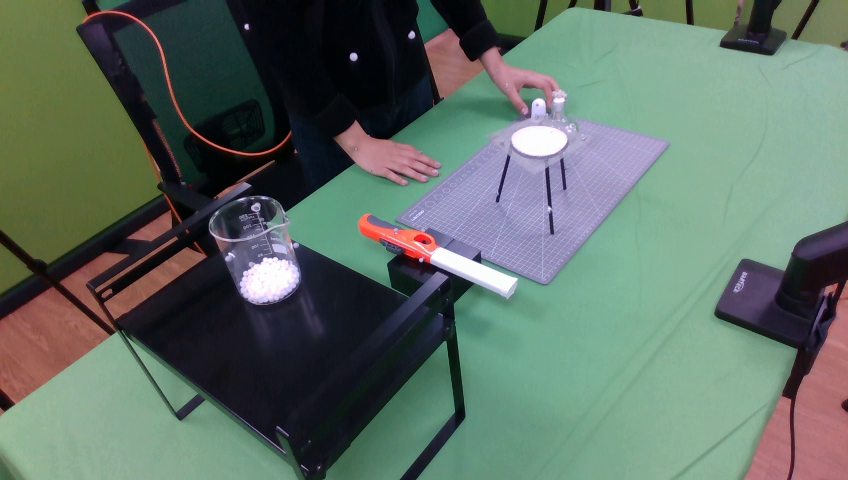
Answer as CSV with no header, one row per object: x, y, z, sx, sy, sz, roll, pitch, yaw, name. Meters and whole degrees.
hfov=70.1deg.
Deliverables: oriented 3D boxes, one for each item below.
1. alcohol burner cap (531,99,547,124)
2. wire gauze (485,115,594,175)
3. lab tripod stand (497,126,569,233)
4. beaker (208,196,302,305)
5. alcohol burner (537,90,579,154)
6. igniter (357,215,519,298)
0.234,-0.264,1.231,0.034,0.048,0.033,-4,43,5,alcohol burner cap
0.177,-0.154,0.935,0.122,0.011,0.124,-26,45,-21,wire gauze
0.188,-0.104,0.979,0.148,0.132,0.147,-3,41,3,lab tripod stand
-0.173,0.014,0.647,0.084,0.101,0.073,-1,41,8,beaker
0.248,-0.220,1.122,0.078,0.119,0.077,-5,39,5,alcohol burner
0.009,0.018,0.876,0.274,0.025,0.057,23,46,28,igniter
